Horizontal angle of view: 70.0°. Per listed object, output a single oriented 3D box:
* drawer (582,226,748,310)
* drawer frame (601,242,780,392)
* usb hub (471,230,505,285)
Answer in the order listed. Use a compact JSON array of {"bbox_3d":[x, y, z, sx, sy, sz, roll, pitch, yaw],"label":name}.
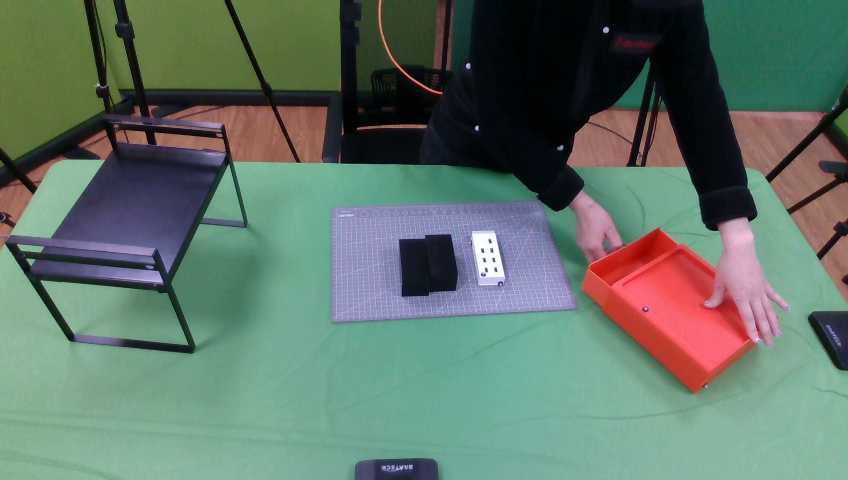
[{"bbox_3d":[0.431,0.093,1.096,0.194,0.073,0.210,-24,53,-25],"label":"drawer"},{"bbox_3d":[0.463,0.125,1.064,0.202,0.083,0.212,-26,54,-26],"label":"drawer frame"},{"bbox_3d":[0.122,0.033,1.167,0.049,0.025,0.124,-2,46,-4],"label":"usb hub"}]
